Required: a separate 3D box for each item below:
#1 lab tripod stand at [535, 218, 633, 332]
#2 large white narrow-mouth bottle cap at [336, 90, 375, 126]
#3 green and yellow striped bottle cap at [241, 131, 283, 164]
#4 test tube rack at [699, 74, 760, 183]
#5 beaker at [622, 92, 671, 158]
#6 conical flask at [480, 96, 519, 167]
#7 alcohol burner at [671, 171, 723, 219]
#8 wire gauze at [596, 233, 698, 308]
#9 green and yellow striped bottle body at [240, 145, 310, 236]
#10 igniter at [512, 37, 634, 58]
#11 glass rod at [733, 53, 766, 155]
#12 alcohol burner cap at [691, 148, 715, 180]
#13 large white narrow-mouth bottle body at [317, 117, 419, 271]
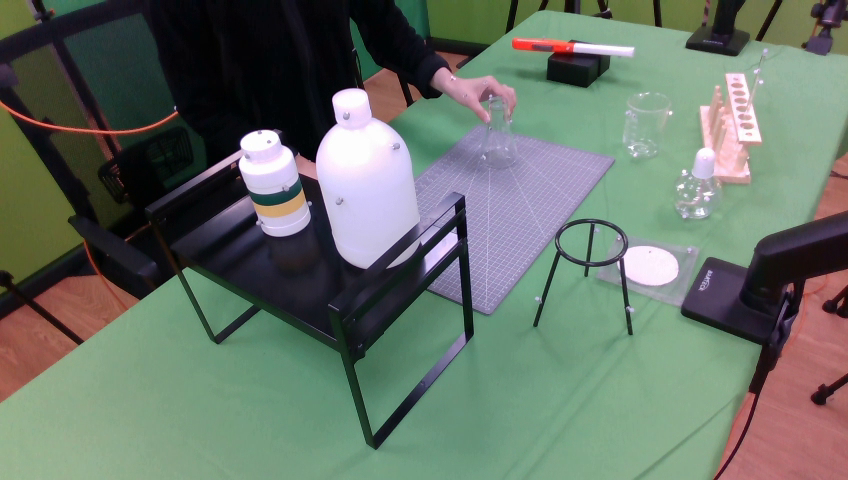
[{"bbox_3d":[0.215,0.050,0.803,0.148,0.132,0.147,-4,42,4],"label":"lab tripod stand"},{"bbox_3d":[-0.068,-0.130,0.595,0.038,0.024,0.037,-3,41,3],"label":"large white narrow-mouth bottle cap"},{"bbox_3d":[-0.187,-0.107,0.695,0.045,0.020,0.045,-3,39,3],"label":"green and yellow striped bottle cap"},{"bbox_3d":[0.547,-0.208,1.095,0.066,0.085,0.242,6,42,15],"label":"test tube rack"},{"bbox_3d":[0.402,-0.210,1.106,0.074,0.101,0.083,-9,40,-2],"label":"beaker"},{"bbox_3d":[0.138,-0.202,1.112,0.075,0.122,0.075,-4,41,4],"label":"conical flask"},{"bbox_3d":[0.434,-0.093,0.955,0.078,0.119,0.077,-3,43,3],"label":"alcohol burner"},{"bbox_3d":[0.331,0.038,0.897,0.124,0.011,0.121,18,47,26],"label":"wire gauze"},{"bbox_3d":[-0.181,-0.068,0.729,0.063,0.120,0.063,-4,40,4],"label":"green and yellow striped bottle body"},{"bbox_3d":[0.328,-0.433,1.360,0.275,0.025,0.057,12,33,20],"label":"igniter"},{"bbox_3d":[0.540,-0.220,1.006,0.008,0.201,0.008,-5,45,6],"label":"glass rod"},{"bbox_3d":[0.432,-0.120,0.930,0.034,0.048,0.033,-7,48,8],"label":"alcohol burner cap"},{"bbox_3d":[-0.062,-0.065,0.653,0.102,0.195,0.101,-3,41,3],"label":"large white narrow-mouth bottle body"}]
